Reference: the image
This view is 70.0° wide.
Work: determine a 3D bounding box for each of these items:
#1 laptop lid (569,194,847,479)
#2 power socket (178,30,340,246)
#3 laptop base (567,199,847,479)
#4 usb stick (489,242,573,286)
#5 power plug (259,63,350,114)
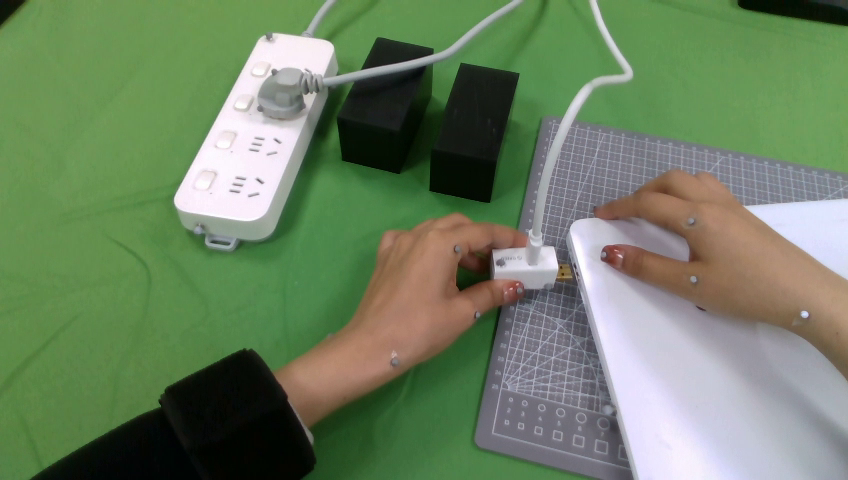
[{"bbox_3d":[0.291,0.068,0.399,0.357,0.013,0.239,-3,59,-4],"label":"laptop lid"},{"bbox_3d":[-0.129,-0.095,0.500,0.072,0.033,0.225,11,56,4],"label":"power socket"},{"bbox_3d":[0.291,0.072,0.410,0.355,0.023,0.233,-4,60,-5],"label":"laptop base"},{"bbox_3d":[0.076,0.017,0.421,0.059,0.027,0.021,0,50,-7],"label":"usb stick"},{"bbox_3d":[-0.098,-0.111,0.483,0.072,0.053,0.035,19,58,11],"label":"power plug"}]
